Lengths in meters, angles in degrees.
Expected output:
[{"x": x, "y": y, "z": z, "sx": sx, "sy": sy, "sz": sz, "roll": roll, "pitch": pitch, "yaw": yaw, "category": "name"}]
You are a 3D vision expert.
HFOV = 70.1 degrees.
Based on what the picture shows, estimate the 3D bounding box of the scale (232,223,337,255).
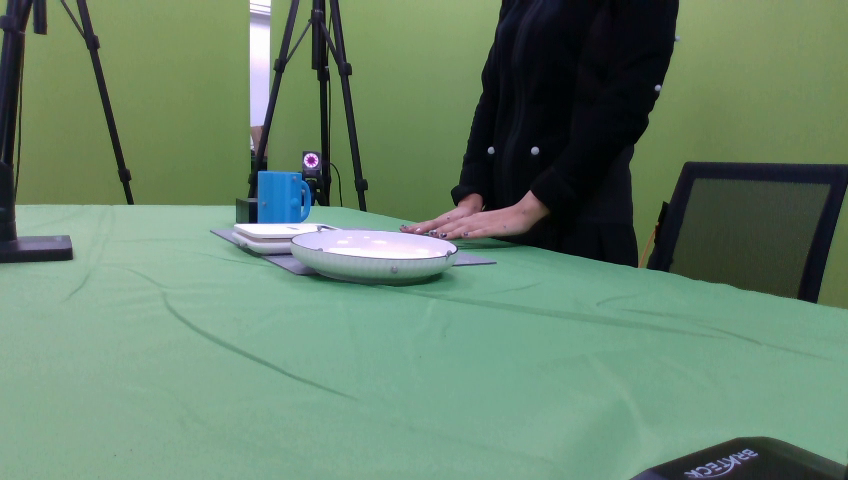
[{"x": -0.178, "y": -0.004, "z": 0.920, "sx": 0.202, "sy": 0.031, "sz": 0.148, "roll": -1, "pitch": 9, "yaw": -30, "category": "scale"}]

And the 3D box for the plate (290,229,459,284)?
[{"x": -0.061, "y": 0.020, "z": 0.753, "sx": 0.209, "sy": 0.038, "sz": 0.209, "roll": 3, "pitch": 9, "yaw": 0, "category": "plate"}]

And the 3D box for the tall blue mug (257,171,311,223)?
[{"x": -0.259, "y": -0.071, "z": 1.107, "sx": 0.078, "sy": 0.108, "sz": 0.107, "roll": 2, "pitch": 7, "yaw": 5, "category": "tall blue mug"}]
